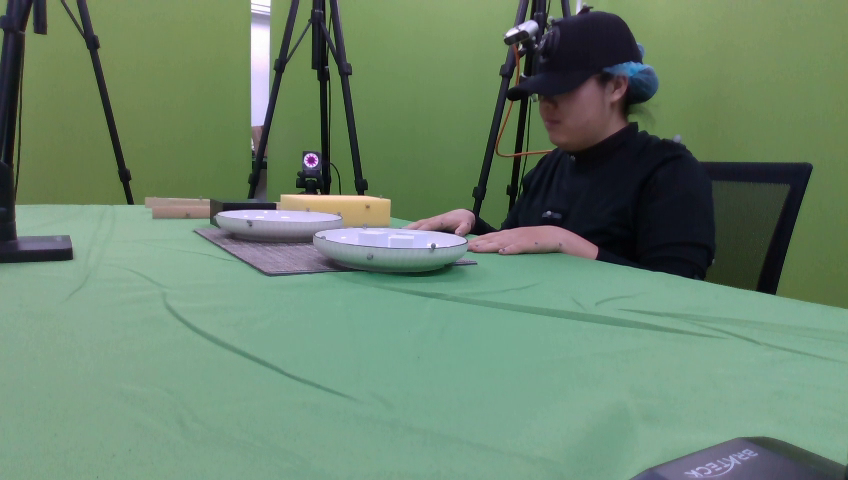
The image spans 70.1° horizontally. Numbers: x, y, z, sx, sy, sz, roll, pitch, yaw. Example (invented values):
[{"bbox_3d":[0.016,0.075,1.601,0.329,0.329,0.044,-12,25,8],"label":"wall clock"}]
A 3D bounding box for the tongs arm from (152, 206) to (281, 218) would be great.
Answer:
[{"bbox_3d":[-0.397,-0.064,1.345,0.390,0.028,0.028,-3,7,-38],"label":"tongs arm"}]

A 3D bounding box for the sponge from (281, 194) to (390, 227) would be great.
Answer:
[{"bbox_3d":[-0.188,-0.063,1.291,0.208,0.061,0.117,-2,9,-35],"label":"sponge"}]

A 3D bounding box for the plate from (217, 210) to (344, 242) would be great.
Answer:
[{"bbox_3d":[-0.241,-0.024,1.026,0.208,0.039,0.207,3,7,0],"label":"plate"}]

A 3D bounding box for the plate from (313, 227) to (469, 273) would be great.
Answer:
[{"bbox_3d":[-0.044,0.012,0.807,0.209,0.038,0.209,2,7,0],"label":"plate"}]

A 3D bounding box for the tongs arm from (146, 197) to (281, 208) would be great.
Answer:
[{"bbox_3d":[-0.437,-0.079,1.415,0.387,0.026,0.050,1,8,-25],"label":"tongs arm"}]
